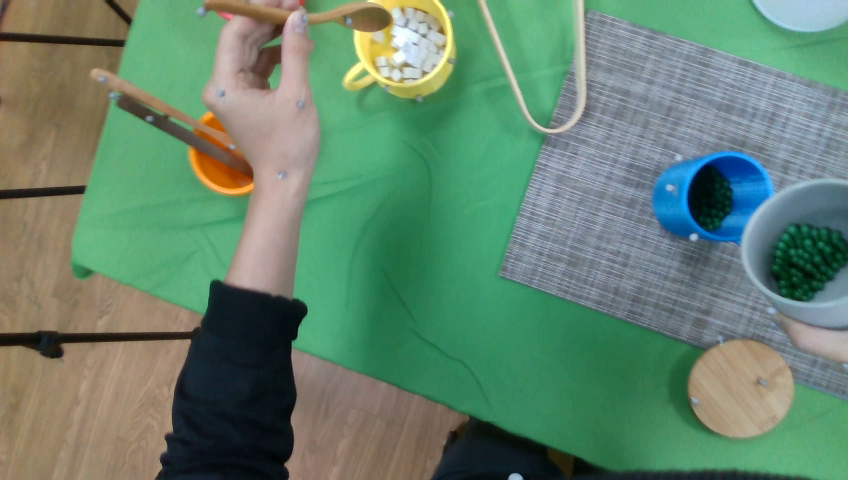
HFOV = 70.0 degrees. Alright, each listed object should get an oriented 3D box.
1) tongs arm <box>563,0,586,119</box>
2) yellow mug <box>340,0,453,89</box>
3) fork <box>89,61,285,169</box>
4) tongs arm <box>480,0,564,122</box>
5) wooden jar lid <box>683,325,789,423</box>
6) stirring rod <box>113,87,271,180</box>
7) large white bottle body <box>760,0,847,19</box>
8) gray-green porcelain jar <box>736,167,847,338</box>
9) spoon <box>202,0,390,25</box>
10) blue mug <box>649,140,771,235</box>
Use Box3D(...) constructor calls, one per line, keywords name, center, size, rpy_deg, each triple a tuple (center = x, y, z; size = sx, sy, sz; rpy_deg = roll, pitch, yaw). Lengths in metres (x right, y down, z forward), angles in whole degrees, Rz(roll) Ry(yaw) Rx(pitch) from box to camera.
Box3D(name="tongs arm", center=(0.142, -0.321, 0.611), size=(0.028, 0.027, 0.388), rpy_deg=(-6, 101, -2))
Box3D(name="yellow mug", center=(-0.034, -0.207, 0.640), size=(0.131, 0.064, 0.100), rpy_deg=(-33, 92, 8))
Box3D(name="fork", center=(-0.235, -0.126, 0.622), size=(0.209, 0.018, 0.028), rpy_deg=(26, 98, -41))
Box3D(name="tongs arm", center=(0.060, -0.300, 0.618), size=(0.051, 0.026, 0.386), rpy_deg=(-20, 100, 3))
Box3D(name="wooden jar lid", center=(0.336, 0.144, 0.658), size=(0.108, 0.020, 0.108), rpy_deg=(1, 97, 8))
Box3D(name="stirring rod", center=(-0.233, -0.106, 0.627), size=(0.005, 0.178, 0.014), rpy_deg=(16, 80, 47))
Box3D(name="large white bottle body", center=(0.386, -0.286, 0.536), size=(0.130, 0.184, 0.130), rpy_deg=(0, 94, 6))
Box3D(name="gray-green porcelain jar", center=(0.329, 0.016, 0.489), size=(0.128, 0.104, 0.106), rpy_deg=(30, 99, -38))
Box3D(name="spoon", center=(-0.088, -0.176, 0.459), size=(0.041, 0.194, 0.022), rpy_deg=(-13, 100, 33))
Box3D(name="blue mug", center=(0.290, -0.041, 0.601), size=(0.116, 0.106, 0.082), rpy_deg=(45, 97, 1))
